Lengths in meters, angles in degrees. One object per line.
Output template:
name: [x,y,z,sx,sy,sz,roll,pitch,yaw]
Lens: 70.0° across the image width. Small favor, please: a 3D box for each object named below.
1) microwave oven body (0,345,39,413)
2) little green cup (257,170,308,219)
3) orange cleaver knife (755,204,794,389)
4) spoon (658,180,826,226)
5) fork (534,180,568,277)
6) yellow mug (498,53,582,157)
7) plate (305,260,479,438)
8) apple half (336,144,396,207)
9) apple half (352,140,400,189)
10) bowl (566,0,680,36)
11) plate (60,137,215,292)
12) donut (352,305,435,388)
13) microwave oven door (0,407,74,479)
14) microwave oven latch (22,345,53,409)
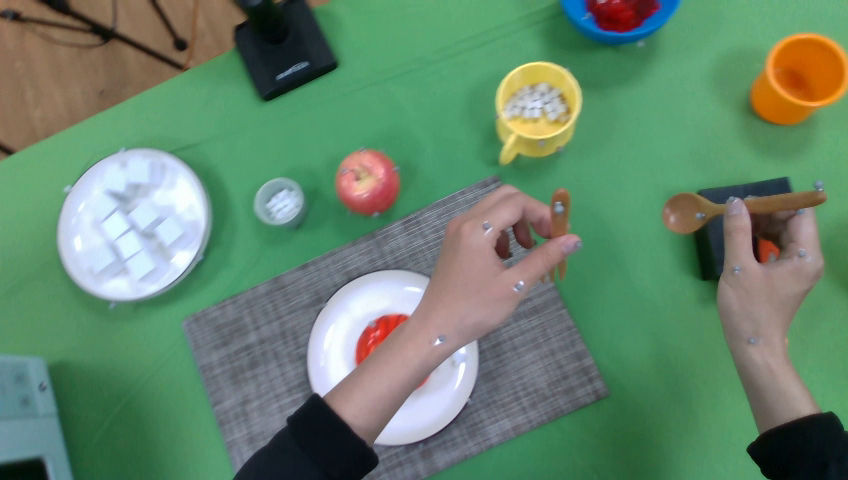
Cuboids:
microwave oven body: [-0.576,0.367,0.628,0.326,0.261,0.439,-22,78,1]
little green cup: [-0.181,-0.056,0.784,0.061,0.039,0.061,-1,79,7]
orange cleaver knife: [0.384,0.063,0.672,0.012,0.077,0.212,-6,111,8]
spoon: [0.265,-0.034,0.527,0.022,0.193,0.041,-8,91,-9]
fork: [0.103,-0.002,0.485,0.028,0.209,0.018,-7,73,8]
yellow mug: [0.134,-0.159,0.755,0.099,0.064,0.130,33,85,11]
plate: [-0.037,0.128,0.728,0.209,0.038,0.208,-1,79,6]
apple half: [-0.079,-0.072,0.759,0.053,0.075,0.080,-45,81,1]
apple half: [-0.052,-0.100,0.759,0.033,0.081,0.081,-45,77,0]
bowl: [0.247,-0.316,0.766,0.151,0.077,0.150,-1,79,7]
plate: [-0.373,-0.032,0.801,0.207,0.039,0.206,-1,79,6]
donut: [-0.036,0.125,0.717,0.099,0.048,0.098,-1,81,7]
microwave oven door: [-0.426,0.351,0.609,0.039,0.245,0.354,-22,77,1]
microwave oven latch: [-0.490,0.172,0.756,0.030,0.029,0.079,-20,78,2]
